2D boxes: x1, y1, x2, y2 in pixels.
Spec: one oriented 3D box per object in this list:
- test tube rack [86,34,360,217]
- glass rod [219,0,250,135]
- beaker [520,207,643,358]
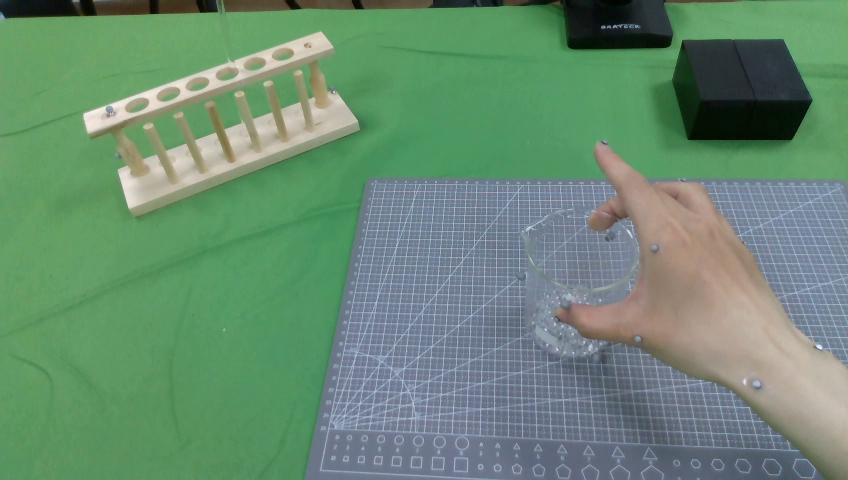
[{"bbox_3d":[-0.194,-0.118,0.612,0.242,0.086,0.066,-24,53,-14],"label":"test tube rack"},{"bbox_3d":[-0.183,-0.184,0.579,0.008,0.201,0.008,1,43,0],"label":"glass rod"},{"bbox_3d":[0.109,0.035,0.447,0.083,0.101,0.073,20,55,21],"label":"beaker"}]
